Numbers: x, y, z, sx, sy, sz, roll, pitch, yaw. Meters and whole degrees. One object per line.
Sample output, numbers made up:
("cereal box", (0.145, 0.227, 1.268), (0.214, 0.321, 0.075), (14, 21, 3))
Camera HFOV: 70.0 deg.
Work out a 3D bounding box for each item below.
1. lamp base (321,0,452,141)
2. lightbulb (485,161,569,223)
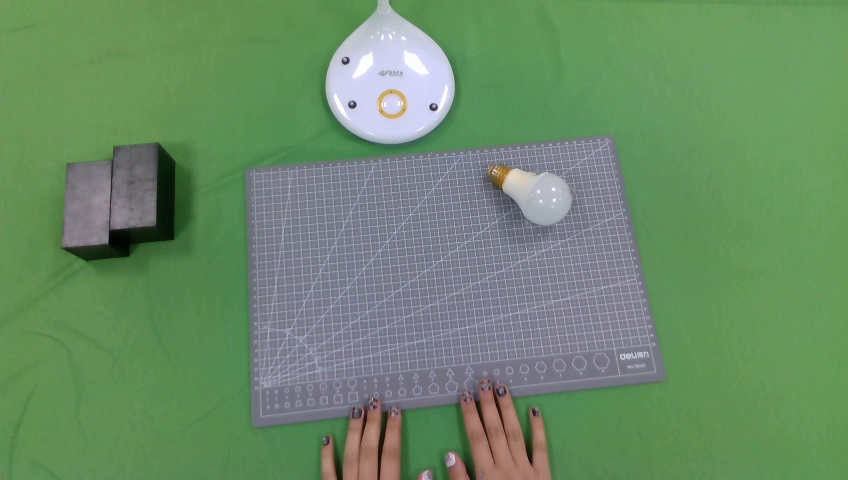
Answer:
("lamp base", (-0.048, -0.230, 0.681), (0.161, 0.181, 0.178), (-11, 71, -5))
("lightbulb", (0.117, -0.061, 0.701), (0.107, 0.060, 0.059), (32, 74, 24))
